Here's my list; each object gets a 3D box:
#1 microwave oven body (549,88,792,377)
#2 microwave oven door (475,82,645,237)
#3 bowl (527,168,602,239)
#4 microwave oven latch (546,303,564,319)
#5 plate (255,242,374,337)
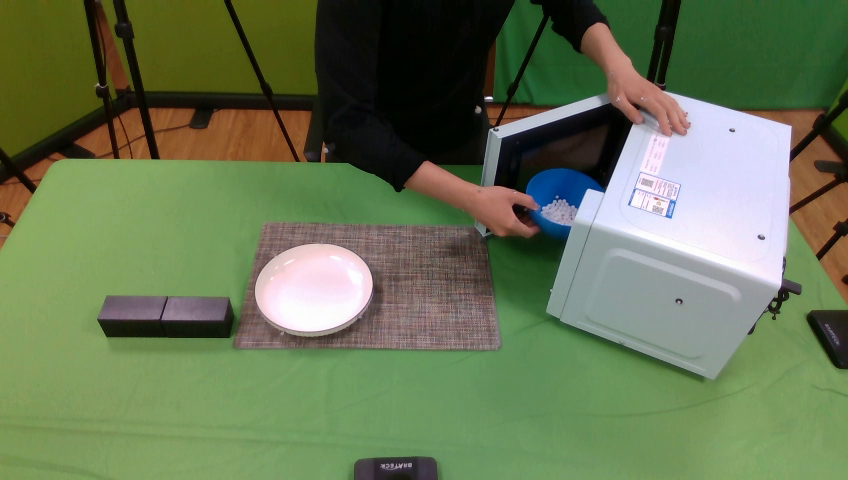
[{"bbox_3d":[0.456,-0.028,1.088,0.325,0.261,0.440,20,47,16],"label":"microwave oven body"},{"bbox_3d":[0.269,-0.159,1.193,0.356,0.245,0.039,-21,50,-22],"label":"microwave oven door"},{"bbox_3d":[0.260,-0.055,1.134,0.151,0.077,0.150,3,50,-3],"label":"bowl"},{"bbox_3d":[0.242,0.102,1.081,0.030,0.029,0.079,22,48,17],"label":"microwave oven latch"},{"bbox_3d":[-0.192,0.090,1.080,0.208,0.039,0.206,2,46,-2],"label":"plate"}]
